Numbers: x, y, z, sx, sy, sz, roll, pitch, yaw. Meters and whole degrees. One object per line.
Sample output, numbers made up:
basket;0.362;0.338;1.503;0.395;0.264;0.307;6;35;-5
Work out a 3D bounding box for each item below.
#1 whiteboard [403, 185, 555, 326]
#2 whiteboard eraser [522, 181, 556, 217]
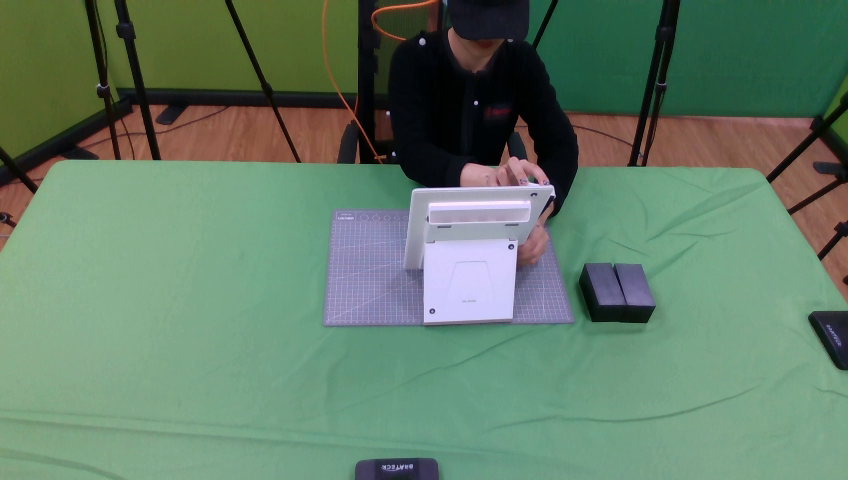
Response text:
whiteboard;0.081;0.044;1.005;0.217;0.306;0.143;-1;66;-5
whiteboard eraser;0.173;-0.056;1.010;0.056;0.113;0.041;3;67;-11
